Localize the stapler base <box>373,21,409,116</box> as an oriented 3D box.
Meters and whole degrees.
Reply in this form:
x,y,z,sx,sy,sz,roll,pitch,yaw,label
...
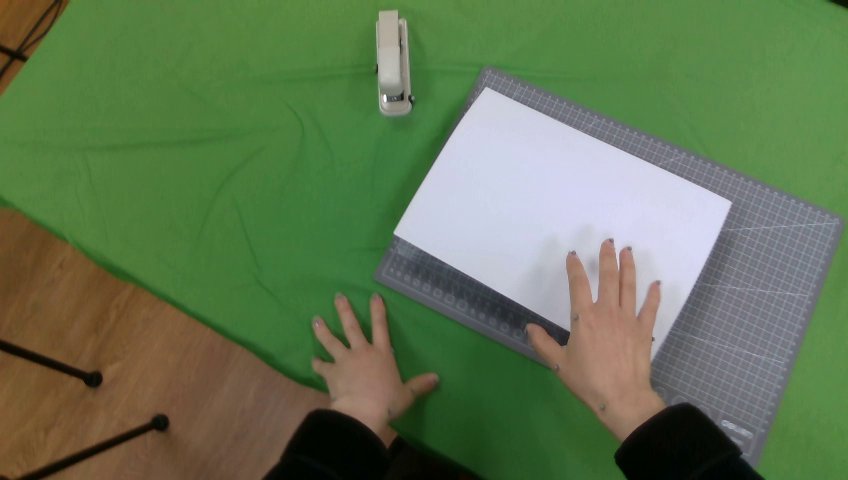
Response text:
x,y,z,sx,sy,sz,roll,pitch,yaw,label
-0.042,-0.217,0.746,0.041,0.024,0.130,-3,74,-1,stapler base

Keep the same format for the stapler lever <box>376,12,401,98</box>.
x,y,z,sx,sy,sz,roll,pitch,yaw,label
-0.043,-0.225,0.723,0.027,0.040,0.117,-3,76,-1,stapler lever
